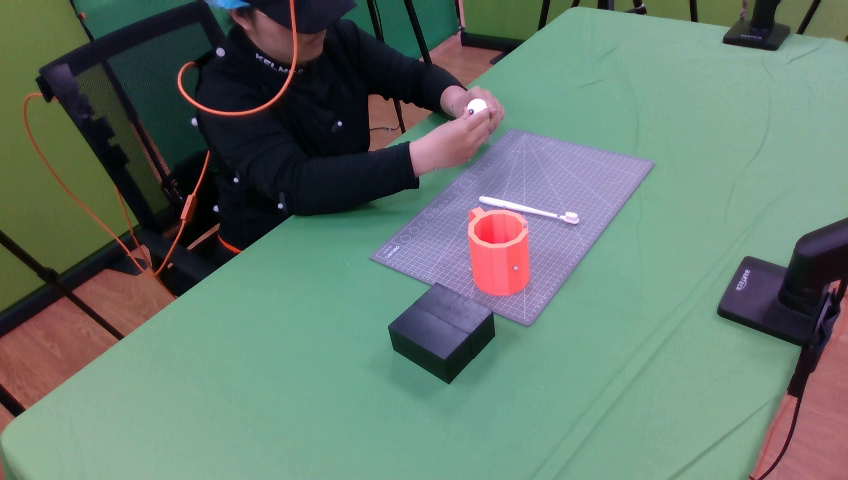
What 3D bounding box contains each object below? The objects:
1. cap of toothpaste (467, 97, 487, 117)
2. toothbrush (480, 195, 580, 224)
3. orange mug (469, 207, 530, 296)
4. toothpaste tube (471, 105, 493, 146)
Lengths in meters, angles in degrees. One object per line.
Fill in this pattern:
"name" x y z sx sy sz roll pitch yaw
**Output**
"cap of toothpaste" 0.092 -0.229 1.047 0.037 0.011 0.037 -2 83 13
"toothbrush" 0.175 -0.054 1.016 0.180 0.017 0.014 15 58 29
"orange mug" 0.104 0.008 0.894 0.084 0.101 0.125 -22 46 -14
"toothpaste tube" 0.113 -0.223 1.124 0.034 0.166 0.055 -1 83 14
